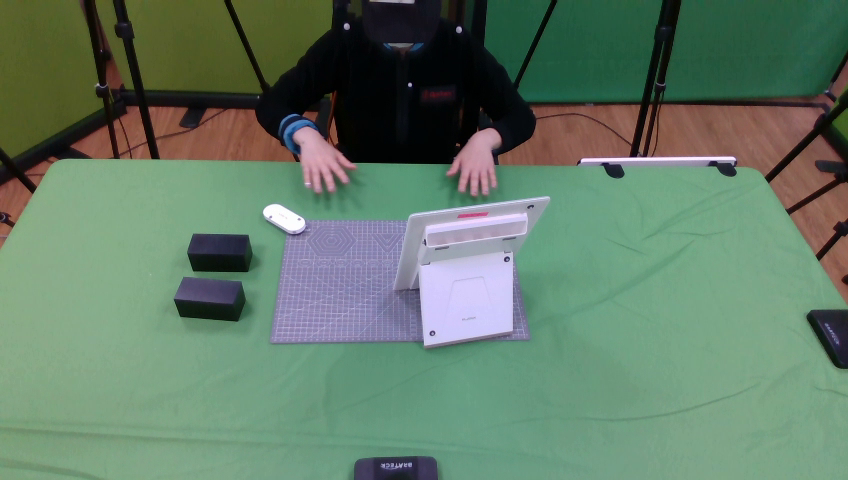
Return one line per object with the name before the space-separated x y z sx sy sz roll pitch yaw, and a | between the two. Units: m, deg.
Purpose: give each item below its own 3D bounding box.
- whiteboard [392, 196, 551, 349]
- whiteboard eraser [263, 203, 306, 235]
whiteboard | 0.077 0.071 0.977 0.217 0.306 0.143 -7 67 -11
whiteboard eraser | -0.281 -0.043 1.216 0.101 0.019 0.041 29 53 24
